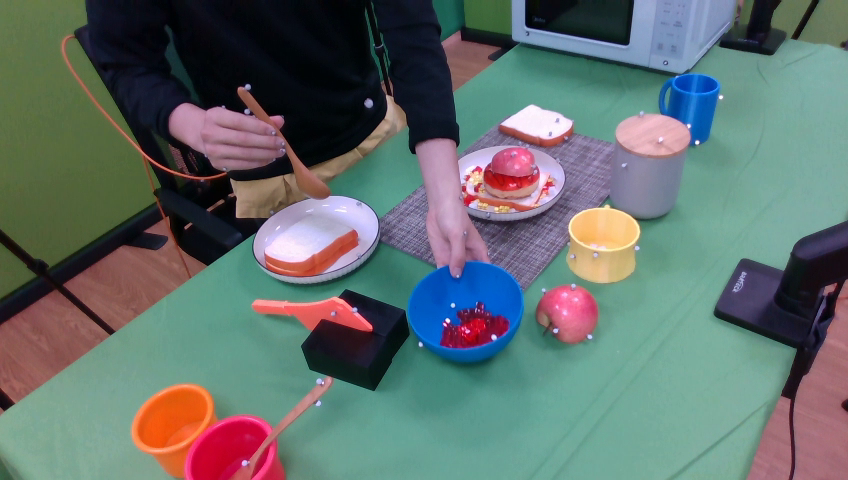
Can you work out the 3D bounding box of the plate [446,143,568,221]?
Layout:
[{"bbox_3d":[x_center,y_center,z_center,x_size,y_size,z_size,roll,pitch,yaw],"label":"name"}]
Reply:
[{"bbox_3d":[0.142,-0.097,1.045,0.207,0.039,0.206,-4,40,4],"label":"plate"}]

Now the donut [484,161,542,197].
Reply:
[{"bbox_3d":[0.149,-0.109,1.016,0.099,0.048,0.098,-4,40,4],"label":"donut"}]

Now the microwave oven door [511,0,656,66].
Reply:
[{"bbox_3d":[0.350,-0.539,1.348,0.353,0.245,0.039,24,50,31],"label":"microwave oven door"}]

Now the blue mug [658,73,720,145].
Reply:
[{"bbox_3d":[0.483,-0.250,1.127,0.082,0.106,0.115,-26,44,-19],"label":"blue mug"}]

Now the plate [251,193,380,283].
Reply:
[{"bbox_3d":[-0.173,-0.001,0.985,0.209,0.038,0.208,-4,41,4],"label":"plate"}]

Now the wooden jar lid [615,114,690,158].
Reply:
[{"bbox_3d":[0.347,-0.155,0.923,0.108,0.021,0.108,-3,44,4],"label":"wooden jar lid"}]

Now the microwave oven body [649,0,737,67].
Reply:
[{"bbox_3d":[0.475,-0.602,1.411,0.438,0.261,0.327,23,50,32],"label":"microwave oven body"}]

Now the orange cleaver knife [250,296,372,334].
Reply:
[{"bbox_3d":[-0.158,0.103,0.828,0.210,0.078,0.012,-4,43,39],"label":"orange cleaver knife"}]

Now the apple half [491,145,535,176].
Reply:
[{"bbox_3d":[0.147,-0.138,0.994,0.081,0.033,0.081,1,37,0],"label":"apple half"}]

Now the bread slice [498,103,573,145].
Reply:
[{"bbox_3d":[0.231,-0.232,1.205,0.105,0.019,0.130,-36,48,-29],"label":"bread slice"}]

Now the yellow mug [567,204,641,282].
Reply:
[{"bbox_3d":[0.268,-0.005,0.905,0.099,0.064,0.130,6,41,16],"label":"yellow mug"}]

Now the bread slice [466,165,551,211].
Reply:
[{"bbox_3d":[0.140,-0.092,1.042,0.133,0.018,0.107,11,43,19],"label":"bread slice"}]

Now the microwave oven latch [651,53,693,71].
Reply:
[{"bbox_3d":[0.532,-0.386,1.301,0.078,0.029,0.030,27,52,34],"label":"microwave oven latch"}]

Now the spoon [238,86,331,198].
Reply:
[{"bbox_3d":[-0.176,-0.118,0.763,0.041,0.195,0.021,-10,45,21],"label":"spoon"}]

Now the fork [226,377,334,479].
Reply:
[{"bbox_3d":[-0.163,0.216,0.647,0.207,0.019,0.028,-49,42,16],"label":"fork"}]

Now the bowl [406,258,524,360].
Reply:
[{"bbox_3d":[0.057,0.103,0.789,0.151,0.077,0.150,-7,42,7],"label":"bowl"}]

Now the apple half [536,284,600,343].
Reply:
[{"bbox_3d":[0.196,0.090,0.815,0.075,0.053,0.080,-22,42,-20],"label":"apple half"}]

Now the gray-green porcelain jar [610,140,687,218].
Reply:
[{"bbox_3d":[0.354,-0.106,0.964,0.106,0.127,0.105,-4,41,4],"label":"gray-green porcelain jar"}]
